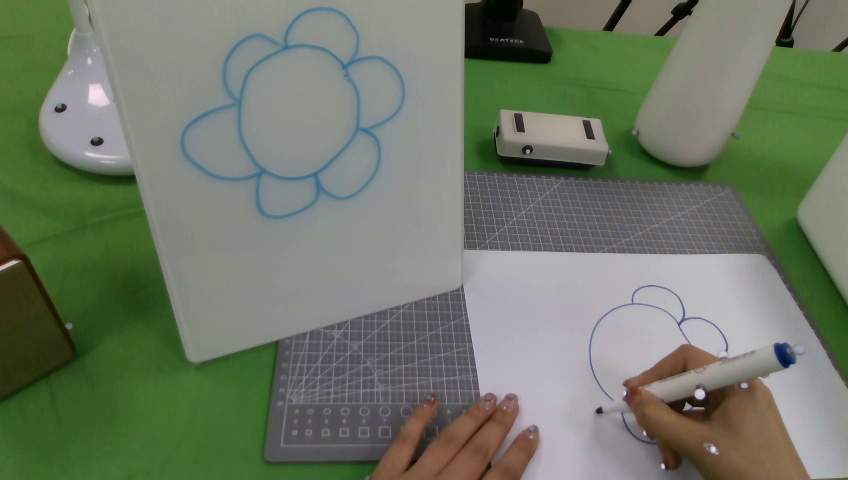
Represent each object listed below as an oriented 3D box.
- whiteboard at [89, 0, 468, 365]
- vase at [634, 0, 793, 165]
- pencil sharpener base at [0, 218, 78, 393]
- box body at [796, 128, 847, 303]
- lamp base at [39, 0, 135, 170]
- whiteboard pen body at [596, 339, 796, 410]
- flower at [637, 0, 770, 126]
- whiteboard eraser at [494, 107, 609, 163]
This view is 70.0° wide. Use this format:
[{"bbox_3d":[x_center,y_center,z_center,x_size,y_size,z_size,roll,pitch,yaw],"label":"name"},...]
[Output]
[{"bbox_3d":[-0.096,-0.099,0.440,0.218,0.308,0.142,-13,32,-20],"label":"whiteboard"},{"bbox_3d":[0.290,-0.173,0.609,0.098,0.201,0.097,6,47,-6],"label":"vase"},{"bbox_3d":[-0.279,0.034,0.381,0.076,0.108,0.061,37,53,24],"label":"pencil sharpener base"},{"bbox_3d":[0.503,0.046,0.469,0.254,0.161,0.360,3,47,-6],"label":"box body"},{"bbox_3d":[-0.278,-0.180,0.529,0.178,0.182,0.160,32,50,22],"label":"lamp base"},{"bbox_3d":[0.168,0.092,0.392,0.017,0.141,0.017,22,51,-31],"label":"whiteboard pen body"},{"bbox_3d":[0.310,-0.218,0.541,0.044,0.363,0.038,-20,71,-33],"label":"flower"},{"bbox_3d":[0.130,-0.107,0.628,0.113,0.042,0.055,3,45,-5],"label":"whiteboard eraser"}]
